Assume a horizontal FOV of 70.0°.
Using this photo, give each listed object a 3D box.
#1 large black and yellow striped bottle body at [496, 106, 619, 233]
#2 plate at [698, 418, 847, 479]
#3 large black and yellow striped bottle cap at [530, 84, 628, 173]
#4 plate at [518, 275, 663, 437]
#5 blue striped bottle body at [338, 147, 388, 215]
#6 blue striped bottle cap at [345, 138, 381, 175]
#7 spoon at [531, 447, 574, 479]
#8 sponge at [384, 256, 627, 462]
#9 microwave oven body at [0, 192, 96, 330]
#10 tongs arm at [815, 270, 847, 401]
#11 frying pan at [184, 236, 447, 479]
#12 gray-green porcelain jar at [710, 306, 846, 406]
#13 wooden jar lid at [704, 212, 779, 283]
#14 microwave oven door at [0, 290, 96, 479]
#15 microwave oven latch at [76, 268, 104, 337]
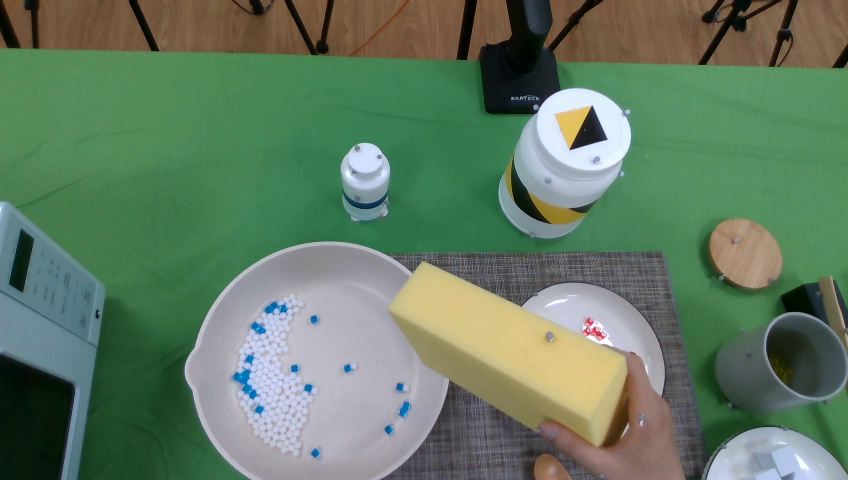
[{"bbox_3d":[0.176,-0.101,0.797,0.131,0.185,0.130,2,67,-5],"label":"large black and yellow striped bottle body"},{"bbox_3d":[0.429,0.324,0.737,0.208,0.039,0.206,2,68,-5],"label":"plate"},{"bbox_3d":[0.184,-0.133,0.717,0.115,0.019,0.114,2,67,-5],"label":"large black and yellow striped bottle cap"},{"bbox_3d":[0.198,0.148,0.775,0.209,0.038,0.207,2,68,-5],"label":"plate"},{"bbox_3d":[-0.080,-0.085,0.793,0.063,0.121,0.062,2,68,-6],"label":"blue striped bottle body"},{"bbox_3d":[-0.075,-0.103,0.745,0.044,0.021,0.044,2,65,-4],"label":"blue striped bottle cap"},{"bbox_3d":[0.203,0.317,0.718,0.193,0.022,0.041,38,52,7],"label":"spoon"},{"bbox_3d":[0.074,0.105,0.551,0.205,0.119,0.061,25,66,33],"label":"sponge"},{"bbox_3d":[-0.531,0.201,0.547,0.327,0.261,0.438,0,69,-7],"label":"microwave oven body"},{"bbox_3d":[0.566,0.224,0.762,0.051,0.026,0.383,-5,79,-10],"label":"tongs arm"},{"bbox_3d":[-0.110,0.230,0.672,0.307,0.103,0.483,-2,61,-5],"label":"frying pan"},{"bbox_3d":[0.432,0.150,0.758,0.106,0.127,0.105,2,68,-6],"label":"gray-green porcelain jar"},{"bbox_3d":[0.454,0.012,0.873,0.108,0.021,0.107,2,70,-5],"label":"wooden jar lid"},{"bbox_3d":[-0.384,0.239,0.544,0.039,0.245,0.353,-1,68,-6],"label":"microwave oven door"},{"bbox_3d":[-0.401,0.074,0.717,0.030,0.029,0.078,1,69,-6],"label":"microwave oven latch"}]
